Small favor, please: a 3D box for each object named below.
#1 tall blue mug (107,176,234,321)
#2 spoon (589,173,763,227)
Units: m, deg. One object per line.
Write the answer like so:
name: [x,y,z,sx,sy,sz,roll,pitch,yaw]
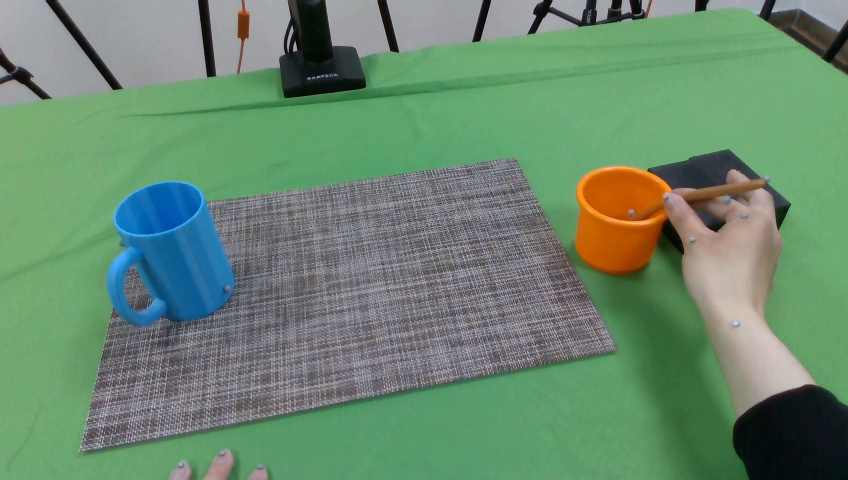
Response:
tall blue mug: [-0.227,0.017,0.550,0.078,0.109,0.106,-3,44,-1]
spoon: [0.222,-0.036,0.558,0.042,0.193,0.021,-15,84,-25]
